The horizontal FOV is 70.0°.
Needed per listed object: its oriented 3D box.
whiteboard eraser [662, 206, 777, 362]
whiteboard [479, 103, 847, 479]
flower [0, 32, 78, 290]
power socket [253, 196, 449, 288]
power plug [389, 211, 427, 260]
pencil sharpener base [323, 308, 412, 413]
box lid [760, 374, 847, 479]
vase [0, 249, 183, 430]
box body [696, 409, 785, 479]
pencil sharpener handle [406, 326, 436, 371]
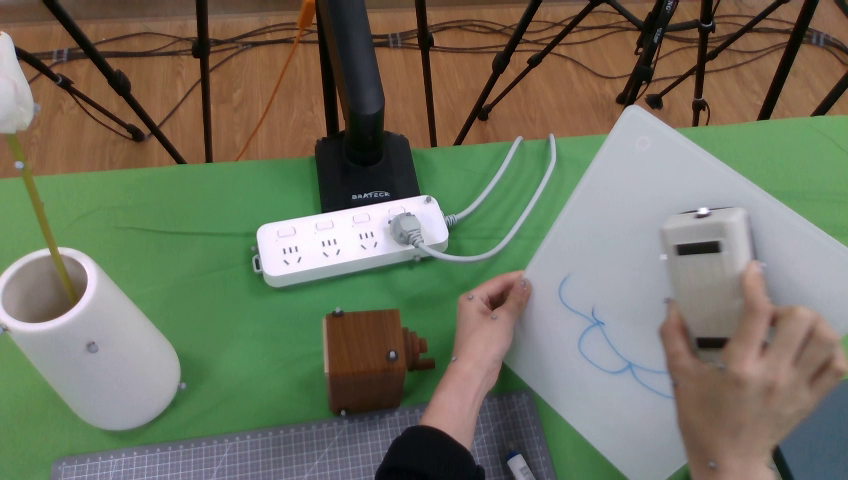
[{"bbox_3d":[0.214,0.032,0.438,0.042,0.055,0.113,-29,105,-48],"label":"whiteboard eraser"},{"bbox_3d":[0.226,0.048,0.561,0.215,0.307,0.144,42,43,21],"label":"whiteboard"},{"bbox_3d":[-0.263,0.027,0.449,0.038,0.364,0.043,-16,41,-24],"label":"flower"},{"bbox_3d":[-0.079,0.000,0.685,0.227,0.033,0.071,-11,59,-13],"label":"power socket"},{"bbox_3d":[-0.019,0.001,0.663,0.035,0.053,0.072,-3,59,-7],"label":"power plug"},{"bbox_3d":[-0.053,0.114,0.568,0.077,0.108,0.061,-4,57,-9],"label":"pencil sharpener base"},{"bbox_3d":[0.416,0.255,0.404,0.264,0.015,0.367,-6,57,-11],"label":"box lid"},{"bbox_3d":[-0.273,0.088,0.507,0.098,0.201,0.097,2,56,-3],"label":"vase"},{"bbox_3d":[0.409,0.299,0.465,0.255,0.161,0.360,-7,58,-10],"label":"box body"},{"bbox_3d":[-0.001,0.104,0.566,0.031,0.068,0.035,-4,57,-9],"label":"pencil sharpener handle"}]
